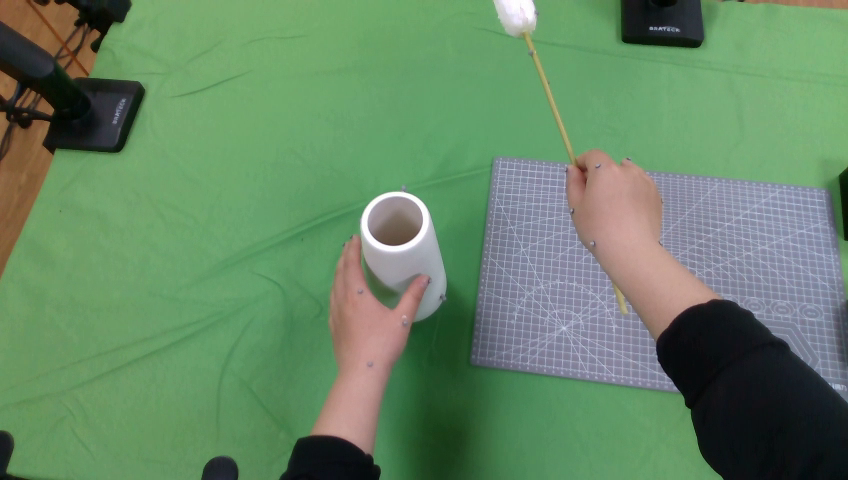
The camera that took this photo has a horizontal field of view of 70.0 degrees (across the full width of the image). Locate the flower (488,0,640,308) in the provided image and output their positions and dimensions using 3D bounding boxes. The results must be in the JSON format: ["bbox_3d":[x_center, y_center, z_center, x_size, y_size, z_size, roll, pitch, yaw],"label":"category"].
[{"bbox_3d":[0.138,-0.103,0.595,0.038,0.044,0.360,-27,77,31],"label":"flower"}]

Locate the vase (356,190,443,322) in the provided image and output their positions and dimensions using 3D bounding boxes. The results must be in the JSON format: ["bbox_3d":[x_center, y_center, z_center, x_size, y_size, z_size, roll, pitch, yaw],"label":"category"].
[{"bbox_3d":[-0.027,0.022,0.682,0.098,0.201,0.097,0,65,1],"label":"vase"}]
